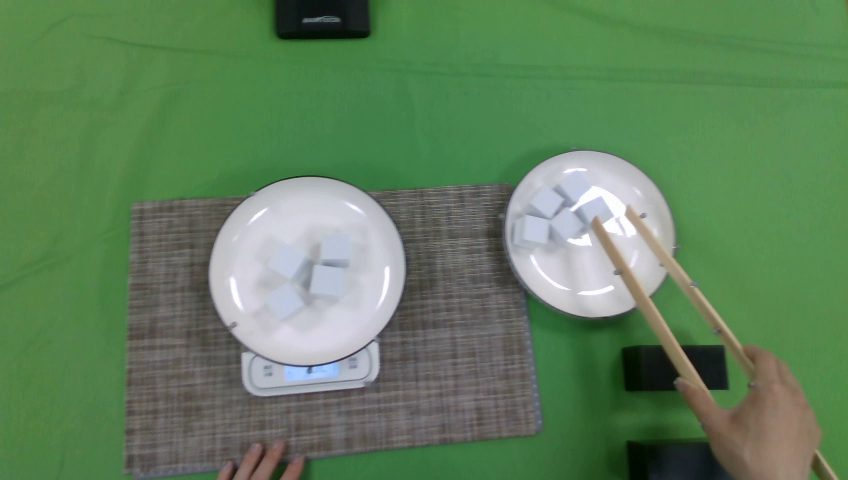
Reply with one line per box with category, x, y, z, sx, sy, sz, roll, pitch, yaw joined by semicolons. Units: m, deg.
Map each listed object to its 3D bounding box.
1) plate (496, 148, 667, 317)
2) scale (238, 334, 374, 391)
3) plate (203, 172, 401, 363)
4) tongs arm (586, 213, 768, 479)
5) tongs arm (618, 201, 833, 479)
plate;0.187;-0.008;0.734;0.208;0.039;0.206;1;77;-5
scale;-0.135;0.065;0.684;0.149;0.031;0.200;-3;78;-6
plate;-0.129;0.029;0.659;0.209;0.038;0.208;1;78;-6
tongs arm;0.268;0.126;0.607;0.028;0.028;0.383;-19;62;-15
tongs arm;0.293;0.116;0.612;0.051;0.027;0.381;-24;63;-13
